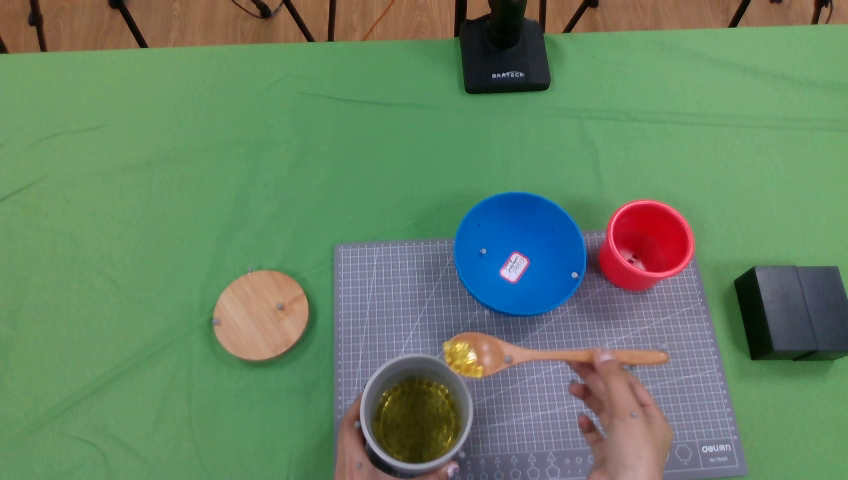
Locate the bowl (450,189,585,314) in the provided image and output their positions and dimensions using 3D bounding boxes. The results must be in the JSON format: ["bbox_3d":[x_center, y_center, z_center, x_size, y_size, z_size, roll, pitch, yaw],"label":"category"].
[{"bbox_3d":[0.104,0.024,0.709,0.151,0.077,0.150,0,67,-1],"label":"bowl"}]

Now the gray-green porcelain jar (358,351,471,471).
[{"bbox_3d":[-0.010,0.178,0.617,0.106,0.127,0.105,1,67,-1],"label":"gray-green porcelain jar"}]

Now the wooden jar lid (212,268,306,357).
[{"bbox_3d":[-0.192,0.086,0.712,0.108,0.021,0.107,0,67,0],"label":"wooden jar lid"}]

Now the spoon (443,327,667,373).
[{"bbox_3d":[0.114,0.099,0.536,0.193,0.022,0.041,-1,72,11],"label":"spoon"}]
